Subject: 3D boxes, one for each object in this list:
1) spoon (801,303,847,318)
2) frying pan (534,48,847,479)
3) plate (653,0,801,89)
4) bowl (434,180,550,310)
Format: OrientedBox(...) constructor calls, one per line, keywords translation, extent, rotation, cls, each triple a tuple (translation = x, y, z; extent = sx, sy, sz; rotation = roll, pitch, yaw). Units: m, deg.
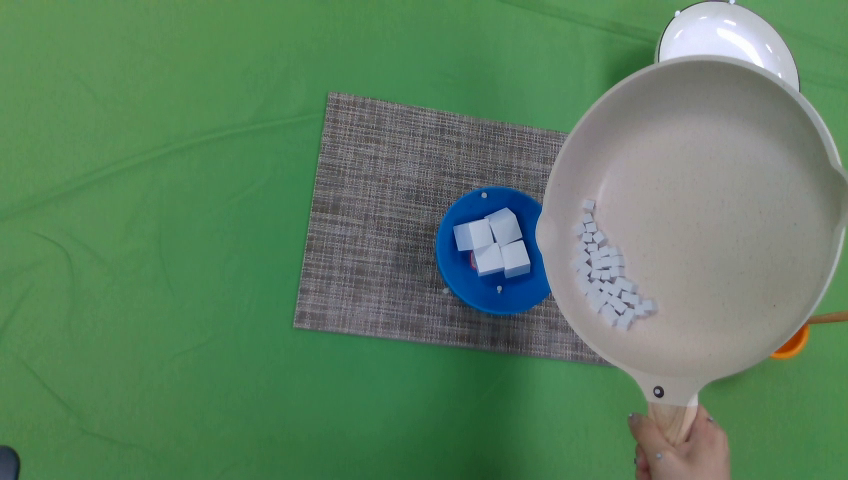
OrientedBox(translation=(0.463, 0.092, 0.742), extent=(0.022, 0.193, 0.041), rotation=(8, 71, -54), cls="spoon")
OrientedBox(translation=(0.222, 0.079, 0.548), extent=(0.103, 0.305, 0.486), rotation=(14, 79, -34), cls="frying pan")
OrientedBox(translation=(0.397, -0.225, 0.806), extent=(0.208, 0.039, 0.206), rotation=(2, 79, -10), cls="plate")
OrientedBox(translation=(0.079, 0.013, 0.717), extent=(0.152, 0.077, 0.150), rotation=(2, 77, -10), cls="bowl")
